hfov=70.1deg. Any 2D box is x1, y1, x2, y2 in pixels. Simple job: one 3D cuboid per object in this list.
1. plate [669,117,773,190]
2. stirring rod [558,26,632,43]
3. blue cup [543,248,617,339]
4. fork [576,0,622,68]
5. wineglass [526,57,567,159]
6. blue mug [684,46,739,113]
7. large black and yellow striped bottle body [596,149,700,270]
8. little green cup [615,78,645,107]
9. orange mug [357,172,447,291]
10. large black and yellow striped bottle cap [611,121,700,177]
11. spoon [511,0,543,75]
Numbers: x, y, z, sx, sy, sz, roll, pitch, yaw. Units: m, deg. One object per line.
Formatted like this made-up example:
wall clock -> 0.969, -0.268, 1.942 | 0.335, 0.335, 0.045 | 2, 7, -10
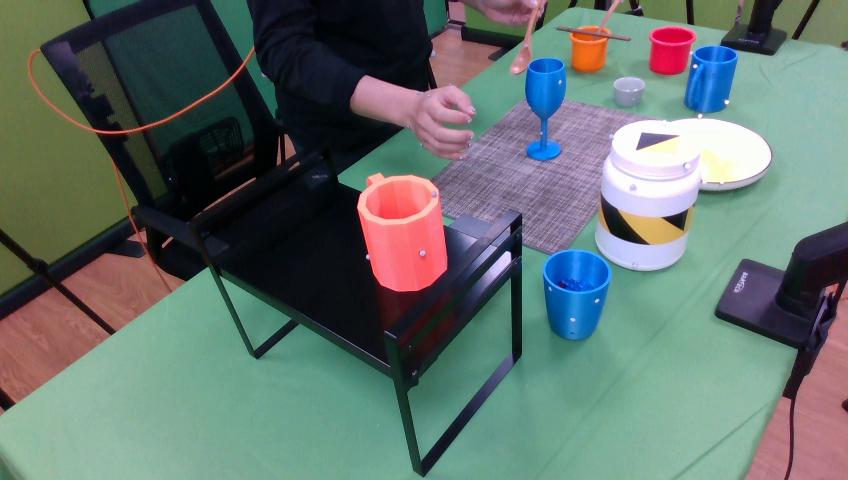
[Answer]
plate -> 0.495, -0.148, 1.063 | 0.209, 0.038, 0.208 | -5, 40, 4
stirring rod -> 0.381, -0.462, 1.356 | 0.175, 0.006, 0.014 | 23, 48, 29
blue cup -> 0.199, 0.076, 0.797 | 0.092, 0.100, 0.092 | -4, 39, 4
fork -> 0.409, -0.484, 1.381 | 0.028, 0.019, 0.207 | 37, 101, 46
wineglass -> 0.221, -0.237, 1.097 | 0.074, 0.173, 0.073 | -5, 41, 4
blue mug -> 0.556, -0.310, 1.190 | 0.117, 0.106, 0.081 | -32, 46, -25
large black and yellow striped bottle body -> 0.323, -0.062, 0.877 | 0.131, 0.185, 0.130 | -5, 40, 4
little green cup -> 0.426, -0.306, 1.257 | 0.061, 0.039, 0.061 | -4, 40, 4
orange mug -> -0.030, -0.018, 0.669 | 0.084, 0.101, 0.125 | -23, 47, -16
large black and yellow striped bottle cap -> 0.315, -0.126, 0.823 | 0.115, 0.019, 0.114 | -4, 42, 4
spoon -> 0.203, -0.399, 1.135 | 0.022, 0.193, 0.041 | 17, -2, -42
